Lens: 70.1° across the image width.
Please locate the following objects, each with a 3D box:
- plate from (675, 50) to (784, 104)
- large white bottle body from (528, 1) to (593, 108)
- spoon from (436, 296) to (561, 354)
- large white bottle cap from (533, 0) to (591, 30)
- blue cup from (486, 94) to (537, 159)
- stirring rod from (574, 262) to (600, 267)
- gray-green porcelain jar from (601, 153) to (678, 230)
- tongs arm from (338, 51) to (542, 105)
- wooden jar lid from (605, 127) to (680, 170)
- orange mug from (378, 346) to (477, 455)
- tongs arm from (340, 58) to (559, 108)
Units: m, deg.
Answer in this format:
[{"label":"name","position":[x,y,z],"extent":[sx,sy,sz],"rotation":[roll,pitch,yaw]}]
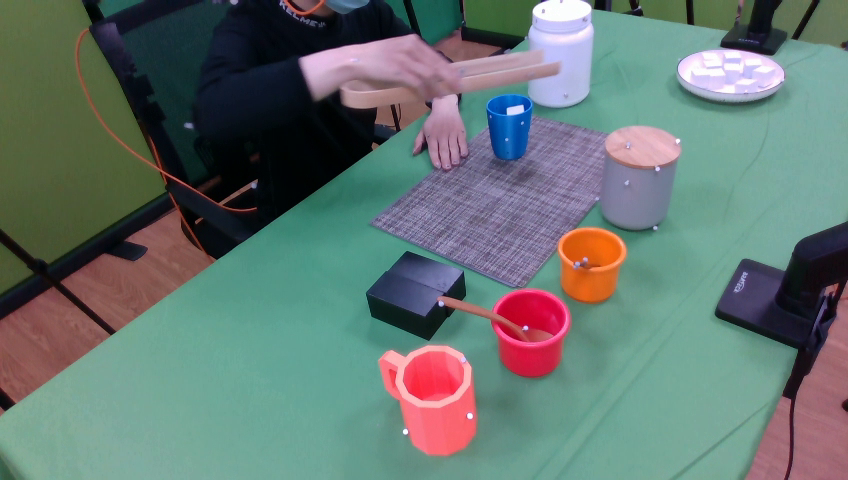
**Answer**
[{"label":"plate","position":[0.632,-0.336,1.262],"extent":[0.207,0.039,0.206],"rotation":[-4,41,4]},{"label":"large white bottle body","position":[0.283,-0.386,1.259],"extent":[0.130,0.185,0.130],"rotation":[-5,41,4]},{"label":"spoon","position":[0.095,0.102,0.750],"extent":[0.195,0.021,0.041],"rotation":[28,31,-28]},{"label":"large white bottle cap","position":[0.274,-0.450,1.204],"extent":[0.115,0.018,0.114],"rotation":[-4,41,4]},{"label":"blue cup","position":[0.160,-0.208,1.129],"extent":[0.092,0.100,0.092],"rotation":[-3,39,3]},{"label":"stirring rod","position":[0.221,0.033,0.817],"extent":[0.014,0.006,0.177],"rotation":[9,1,22]},{"label":"gray-green porcelain jar","position":[0.334,-0.087,0.949],"extent":[0.106,0.127,0.105],"rotation":[-4,40,4]},{"label":"tongs arm","position":[0.042,-0.270,0.991],"extent":[0.387,0.026,0.050],"rotation":[-14,37,-20]},{"label":"wooden jar lid","position":[0.327,-0.134,0.909],"extent":[0.108,0.021,0.108],"rotation":[-2,43,2]},{"label":"orange mug","position":[0.002,0.179,0.709],"extent":[0.125,0.101,0.083],"rotation":[25,50,27]},{"label":"tongs arm","position":[0.055,-0.255,0.969],"extent":[0.390,0.028,0.028],"rotation":[-15,41,-22]}]
